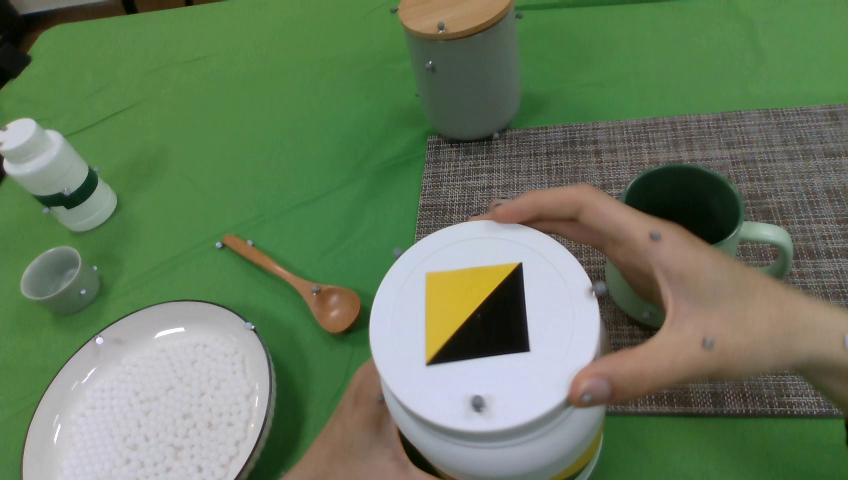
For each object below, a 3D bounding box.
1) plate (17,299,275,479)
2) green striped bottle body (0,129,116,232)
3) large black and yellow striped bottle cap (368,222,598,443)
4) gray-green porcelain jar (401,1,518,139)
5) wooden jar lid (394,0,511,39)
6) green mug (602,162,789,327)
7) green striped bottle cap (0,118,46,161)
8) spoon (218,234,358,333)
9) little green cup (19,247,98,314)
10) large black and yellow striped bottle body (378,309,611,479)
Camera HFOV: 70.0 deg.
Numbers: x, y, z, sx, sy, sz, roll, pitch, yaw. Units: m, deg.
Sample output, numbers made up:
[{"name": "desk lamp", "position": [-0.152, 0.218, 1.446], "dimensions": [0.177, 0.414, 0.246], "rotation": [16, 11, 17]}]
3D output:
[{"name": "plate", "position": [-0.217, 0.146, 0.490], "dimensions": [0.209, 0.038, 0.207], "rotation": [-6, 54, 8]}, {"name": "green striped bottle body", "position": [-0.383, -0.067, 0.627], "dimensions": [0.063, 0.120, 0.062], "rotation": [-6, 54, 9]}, {"name": "large black and yellow striped bottle cap", "position": [0.028, 0.042, 0.304], "dimensions": [0.115, 0.019, 0.114], "rotation": [-6, 56, 10]}, {"name": "gray-green porcelain jar", "position": [0.039, -0.174, 0.603], "dimensions": [0.106, 0.128, 0.105], "rotation": [-6, 50, 8]}, {"name": "wooden jar lid", "position": [0.027, -0.214, 0.555], "dimensions": [0.108, 0.021, 0.107], "rotation": [-8, 52, 11]}, {"name": "green mug", "position": [0.198, 0.007, 0.449], "dimensions": [0.125, 0.106, 0.092], "rotation": [6, 56, 16]}, {"name": "green striped bottle cap", "position": [-0.393, -0.097, 0.586], "dimensions": [0.044, 0.020, 0.044], "rotation": [-5, 56, 7]}, {"name": "spoon", "position": [-0.132, 0.031, 0.562], "dimensions": [0.192, 0.022, 0.041], "rotation": [28, 82, 28]}, {"name": "little green cup", "position": [-0.356, 0.042, 0.595], "dimensions": [0.061, 0.039, 0.061], "rotation": [-6, 53, 9]}, {"name": "large black and yellow striped bottle body", "position": [0.046, 0.088, 0.378], "dimensions": [0.130, 0.186, 0.129], "rotation": [-6, 58, 9]}]
